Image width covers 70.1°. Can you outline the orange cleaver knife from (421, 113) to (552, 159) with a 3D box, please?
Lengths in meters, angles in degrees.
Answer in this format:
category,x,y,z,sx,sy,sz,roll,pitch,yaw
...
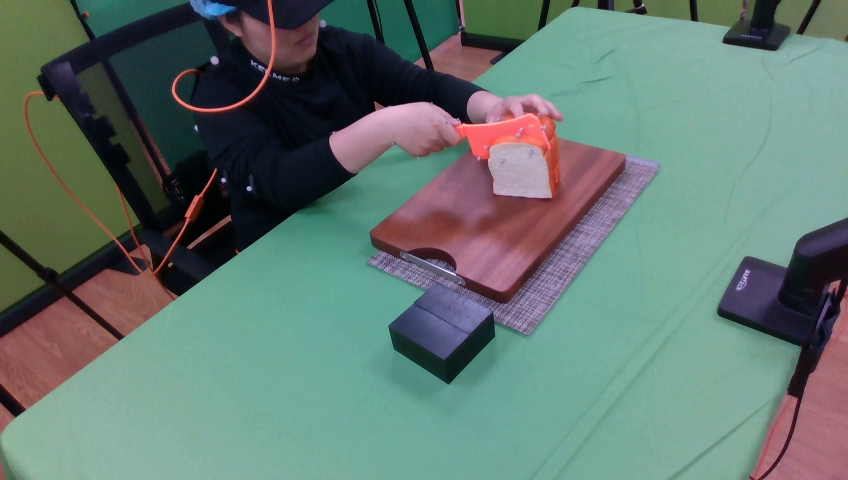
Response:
category,x,y,z,sx,sy,sz,roll,pitch,yaw
orange cleaver knife,0.097,-0.163,0.964,0.210,0.077,0.012,3,41,26

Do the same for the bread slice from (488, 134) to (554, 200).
category,x,y,z,sx,sy,sz,roll,pitch,yaw
bread slice,0.152,-0.114,0.969,0.104,0.132,0.019,4,49,20

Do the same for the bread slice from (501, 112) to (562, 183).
category,x,y,z,sx,sy,sz,roll,pitch,yaw
bread slice,0.176,-0.151,1.004,0.106,0.135,0.018,10,48,20
